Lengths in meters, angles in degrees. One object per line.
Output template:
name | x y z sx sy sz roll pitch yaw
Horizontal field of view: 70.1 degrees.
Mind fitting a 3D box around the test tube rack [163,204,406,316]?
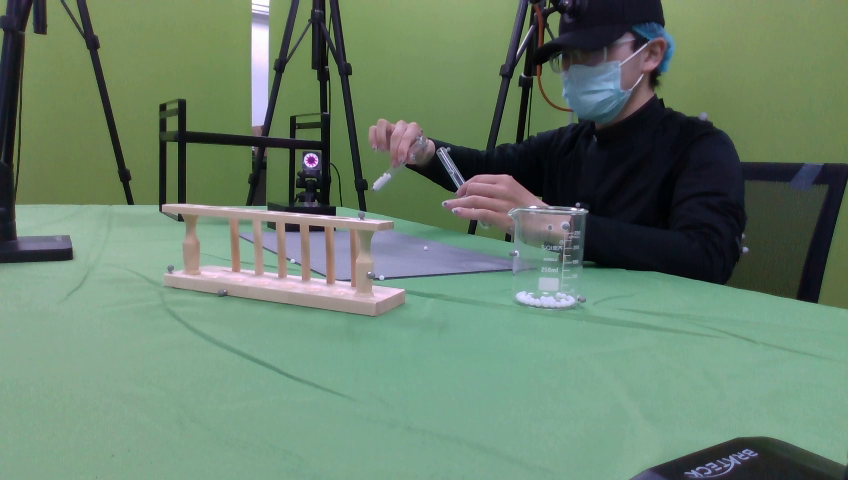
test tube rack | -0.141 0.013 0.601 0.241 0.085 0.067 5 8 21

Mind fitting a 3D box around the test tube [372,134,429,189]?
test tube | -0.042 -0.127 1.007 0.017 0.017 0.150 -6 -25 -46

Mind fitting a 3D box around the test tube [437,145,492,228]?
test tube | 0.061 -0.082 0.920 0.017 0.150 0.017 -28 -15 -8

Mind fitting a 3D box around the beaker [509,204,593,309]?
beaker | 0.125 0.015 0.613 0.084 0.100 0.074 1 7 -5
